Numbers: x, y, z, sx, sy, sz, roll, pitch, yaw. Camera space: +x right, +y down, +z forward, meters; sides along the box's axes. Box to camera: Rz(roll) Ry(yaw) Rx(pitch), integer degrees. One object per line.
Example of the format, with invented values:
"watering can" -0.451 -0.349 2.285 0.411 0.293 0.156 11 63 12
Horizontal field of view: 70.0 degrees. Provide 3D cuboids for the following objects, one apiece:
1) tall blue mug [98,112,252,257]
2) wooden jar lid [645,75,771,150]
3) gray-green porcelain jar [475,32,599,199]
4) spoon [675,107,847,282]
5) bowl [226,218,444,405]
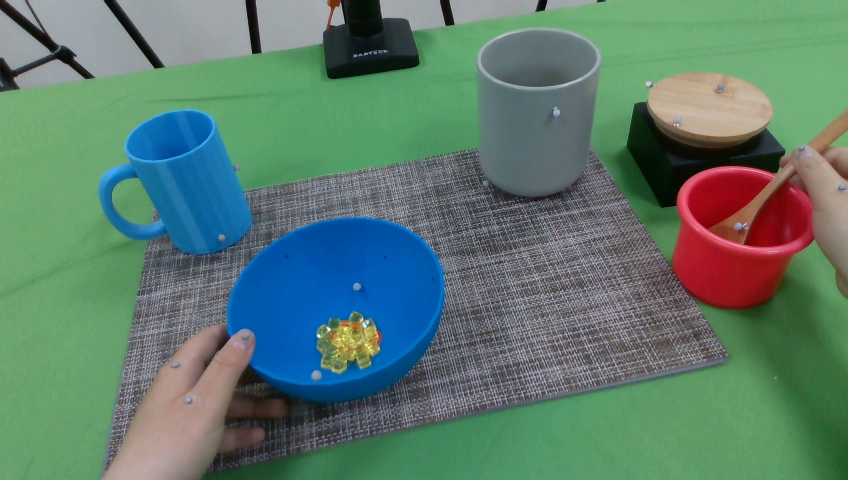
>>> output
"tall blue mug" -0.218 -0.039 0.539 0.077 0.109 0.107 24 52 26
"wooden jar lid" 0.261 -0.118 0.563 0.108 0.021 0.107 -4 45 4
"gray-green porcelain jar" 0.101 -0.110 0.563 0.106 0.128 0.105 -3 45 4
"spoon" 0.271 -0.039 0.465 0.022 0.194 0.041 24 24 -34
"bowl" -0.057 0.063 0.442 0.151 0.077 0.150 -3 45 3
